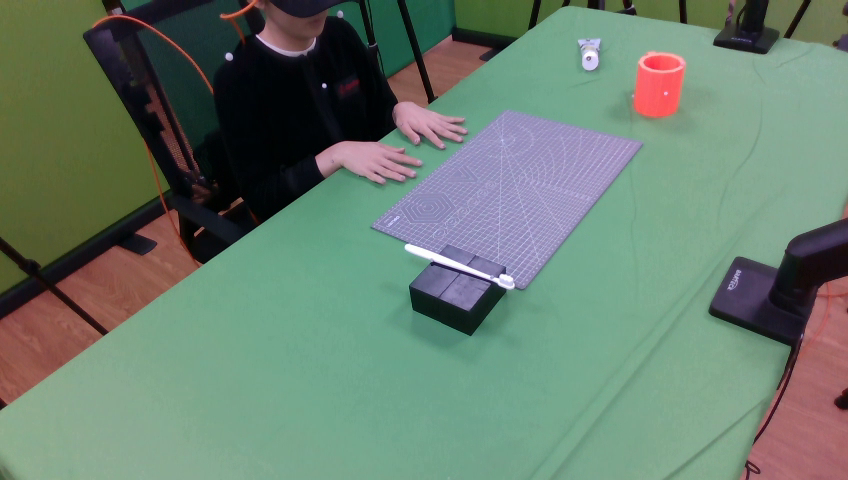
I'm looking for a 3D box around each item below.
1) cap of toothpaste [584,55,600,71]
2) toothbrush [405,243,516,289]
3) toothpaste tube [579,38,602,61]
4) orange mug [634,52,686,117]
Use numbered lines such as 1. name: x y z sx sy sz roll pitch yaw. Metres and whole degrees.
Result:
1. cap of toothpaste: 0.381 -0.403 1.372 0.037 0.037 0.011 1 38 10
2. toothbrush: 0.048 0.034 0.859 0.180 0.017 0.014 19 51 28
3. toothpaste tube: 0.398 -0.449 1.433 0.055 0.034 0.164 6 38 8
4. orange mug: 0.469 -0.321 1.219 0.083 0.101 0.125 -5 45 3
